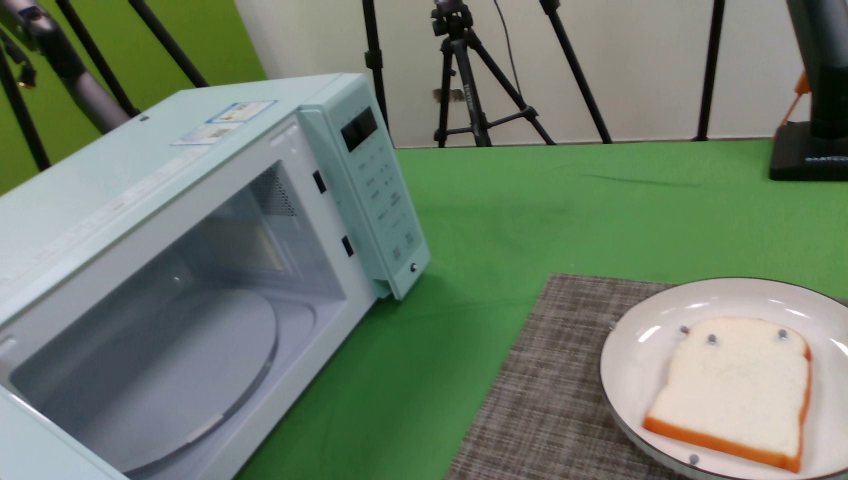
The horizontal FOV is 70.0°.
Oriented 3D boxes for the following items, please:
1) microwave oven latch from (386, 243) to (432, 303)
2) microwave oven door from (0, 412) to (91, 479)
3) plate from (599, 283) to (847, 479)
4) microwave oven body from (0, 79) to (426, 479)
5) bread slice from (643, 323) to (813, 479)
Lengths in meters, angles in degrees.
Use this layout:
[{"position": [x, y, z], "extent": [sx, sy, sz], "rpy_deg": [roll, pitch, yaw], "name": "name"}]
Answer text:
[{"position": [-0.020, 0.037, 0.708], "extent": [0.030, 0.030, 0.079], "rpy_deg": [5, 39, 34], "name": "microwave oven latch"}, {"position": [-0.106, 0.196, 0.298], "extent": [0.353, 0.246, 0.039], "rpy_deg": [8, 40, 37], "name": "microwave oven door"}, {"position": [0.243, 0.112, 0.468], "extent": [0.209, 0.038, 0.207], "rpy_deg": [-14, 31, 9], "name": "plate"}, {"position": [-0.255, 0.053, 0.622], "extent": [0.324, 0.262, 0.440], "rpy_deg": [4, 39, 33], "name": "microwave oven body"}, {"position": [0.241, 0.114, 0.471], "extent": [0.104, 0.019, 0.131], "rpy_deg": [6, 40, 36], "name": "bread slice"}]
